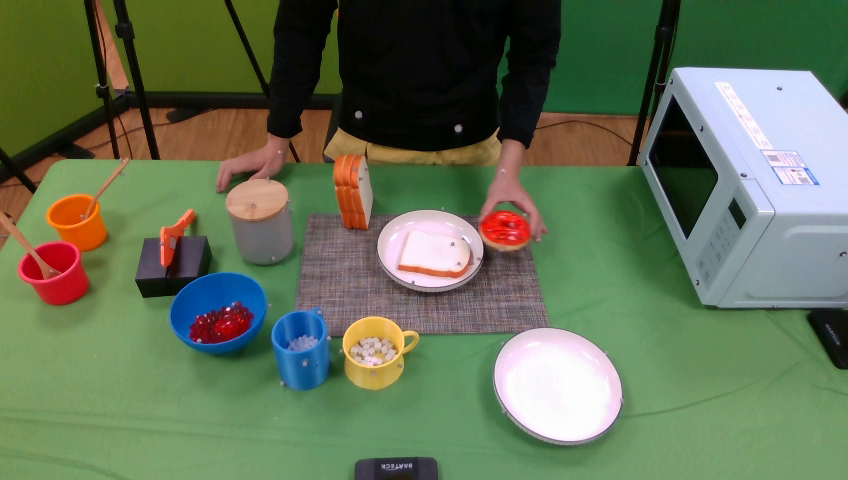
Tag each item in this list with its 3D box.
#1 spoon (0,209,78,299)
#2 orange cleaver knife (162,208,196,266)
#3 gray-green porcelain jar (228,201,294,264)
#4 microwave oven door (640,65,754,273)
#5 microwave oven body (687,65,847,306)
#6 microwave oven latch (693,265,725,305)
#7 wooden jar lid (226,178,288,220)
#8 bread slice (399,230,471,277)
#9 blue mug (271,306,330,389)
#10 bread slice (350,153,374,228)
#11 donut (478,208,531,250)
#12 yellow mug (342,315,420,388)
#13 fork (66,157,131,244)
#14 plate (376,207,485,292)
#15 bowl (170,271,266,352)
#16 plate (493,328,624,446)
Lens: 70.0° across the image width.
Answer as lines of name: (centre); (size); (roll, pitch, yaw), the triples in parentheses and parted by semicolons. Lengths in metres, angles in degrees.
spoon: (-0.668, 0.021, 1.040); (0.041, 0.021, 0.194); (-41, 105, -30)
orange cleaver knife: (-0.454, -0.010, 1.129); (0.012, 0.077, 0.210); (-1, 17, -6)
gray-green porcelain jar: (-0.299, -0.027, 1.126); (0.106, 0.127, 0.105); (2, 46, -2)
microwave oven door: (0.523, -0.147, 1.193); (0.039, 0.245, 0.353); (0, 47, -3)
microwave oven body: (0.669, -0.111, 1.176); (0.326, 0.261, 0.439); (0, 46, -3)
microwave oven latch: (0.522, 0.081, 1.115); (0.030, 0.029, 0.078); (2, 46, -1)
wooden jar lid: (-0.296, -0.070, 1.081); (0.108, 0.021, 0.107); (1, 45, -1)
bread slice: (0.025, 0.025, 1.162); (0.131, 0.019, 0.104); (7, 47, 8)
blue mug: (-0.188, 0.163, 0.969); (0.082, 0.106, 0.116); (15, 47, 10)
bread slice: (-0.124, -0.103, 1.207); (0.018, 0.135, 0.106); (-1, 47, 7)
donut: (0.149, -0.022, 1.125); (0.099, 0.048, 0.098); (5, 42, -4)
yellow mug: (-0.068, 0.177, 0.990); (0.131, 0.064, 0.099); (-15, 50, -19)
fork: (-0.608, -0.074, 1.132); (0.207, 0.019, 0.028); (-52, 48, 10)
plate: (0.012, 0.021, 1.159); (0.209, 0.038, 0.208); (2, 47, -2)
bowl: (-0.333, 0.132, 1.006); (0.151, 0.077, 0.150); (2, 46, -2)
plate: (0.213, 0.236, 0.974); (0.208, 0.039, 0.206); (2, 46, -2)
